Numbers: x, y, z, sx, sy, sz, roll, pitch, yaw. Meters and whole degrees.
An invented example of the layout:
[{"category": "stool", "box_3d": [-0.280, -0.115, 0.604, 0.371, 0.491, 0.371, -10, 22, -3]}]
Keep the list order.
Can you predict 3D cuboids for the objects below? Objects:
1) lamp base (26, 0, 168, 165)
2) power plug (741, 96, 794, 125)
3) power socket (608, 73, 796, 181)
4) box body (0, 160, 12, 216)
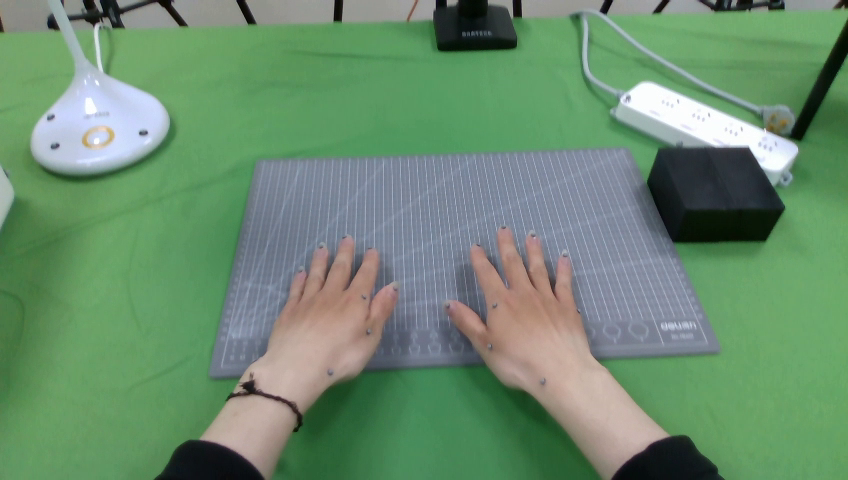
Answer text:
[{"category": "lamp base", "box_3d": [-0.404, -0.206, 0.693, 0.161, 0.182, 0.177, -21, 48, -19]}, {"category": "power plug", "box_3d": [0.431, -0.162, 0.770, 0.053, 0.035, 0.072, -27, 19, -29]}, {"category": "power socket", "box_3d": [0.337, -0.143, 0.740, 0.224, 0.033, 0.072, 35, 56, 29]}, {"category": "box body", "box_3d": [-0.547, 0.017, 0.498, 0.254, 0.162, 0.360, -6, 48, -6]}]
